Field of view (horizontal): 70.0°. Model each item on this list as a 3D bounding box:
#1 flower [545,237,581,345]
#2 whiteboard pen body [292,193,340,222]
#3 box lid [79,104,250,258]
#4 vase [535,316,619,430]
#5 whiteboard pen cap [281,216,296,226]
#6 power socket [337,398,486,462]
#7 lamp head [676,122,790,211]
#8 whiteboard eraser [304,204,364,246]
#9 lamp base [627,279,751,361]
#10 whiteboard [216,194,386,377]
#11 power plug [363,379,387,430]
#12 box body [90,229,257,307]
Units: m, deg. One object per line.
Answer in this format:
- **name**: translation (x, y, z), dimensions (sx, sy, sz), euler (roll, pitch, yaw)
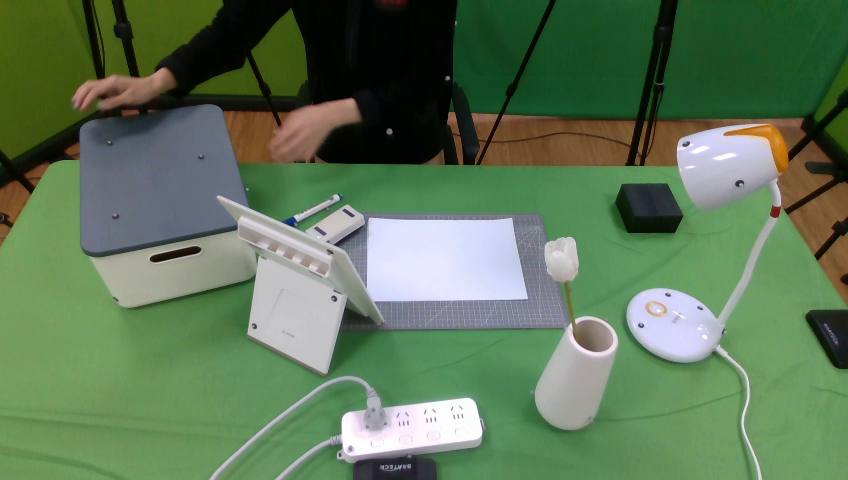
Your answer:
- **flower**: translation (0.213, 0.137, 0.846), dimensions (0.038, 0.364, 0.044), euler (22, 55, 40)
- **whiteboard pen body**: translation (-0.231, -0.062, 1.243), dimensions (0.141, 0.017, 0.017), euler (-32, 56, -30)
- **box lid**: translation (-0.467, -0.121, 1.075), dimensions (0.264, 0.015, 0.369), euler (-13, 49, -17)
- **vase**: translation (0.229, 0.200, 0.901), dimensions (0.098, 0.201, 0.097), euler (3, 46, -3)
- **whiteboard pen cap**: translation (-0.273, -0.035, 1.213), dimensions (0.033, 0.018, 0.018), euler (-32, 56, -31)
- **power socket**: translation (-0.018, 0.285, 0.914), dimensions (0.227, 0.033, 0.071), euler (-4, 46, -8)
- **lamp head**: translation (0.423, -0.104, 0.819), dimensions (0.122, 0.113, 0.112), euler (-13, 33, 40)
- **whiteboard eraser**: translation (-0.175, -0.022, 1.188), dimensions (0.055, 0.042, 0.112), euler (36, 54, 26)
- **lamp base**: translation (0.460, 0.100, 1.027), dimensions (0.178, 0.181, 0.160), euler (27, 51, 17)
- **whiteboard**: translation (-0.212, 0.093, 0.939), dimensions (0.216, 0.307, 0.143), euler (24, 70, 17)
- **power plug**: translation (-0.071, 0.252, 0.911), dimensions (0.035, 0.053, 0.072), euler (3, 40, 0)
- **box body**: translation (-0.471, -0.070, 1.131), dimensions (0.254, 0.161, 0.361), euler (-14, 49, -17)
